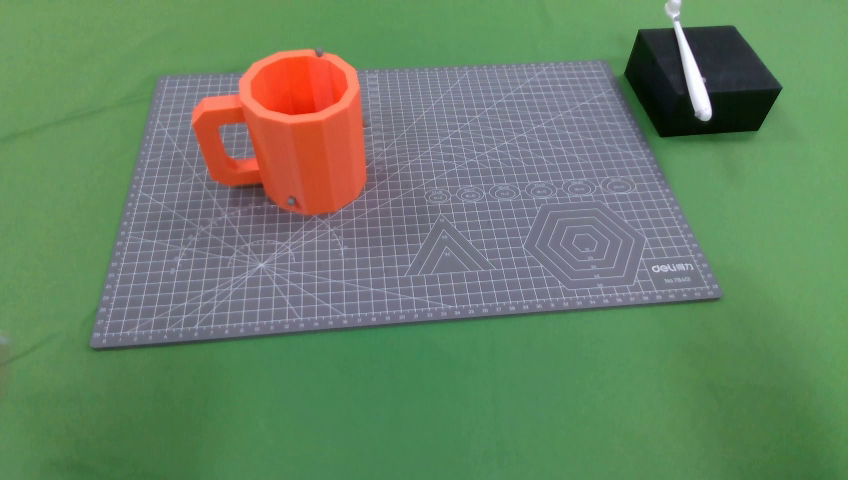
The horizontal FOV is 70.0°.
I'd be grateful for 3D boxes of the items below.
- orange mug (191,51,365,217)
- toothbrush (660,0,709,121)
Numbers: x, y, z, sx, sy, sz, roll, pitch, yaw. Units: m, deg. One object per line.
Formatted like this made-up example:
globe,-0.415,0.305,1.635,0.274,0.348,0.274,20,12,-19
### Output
orange mug,-0.110,-0.079,0.470,0.126,0.101,0.082,-7,52,-13
toothbrush,0.238,-0.171,0.554,0.014,0.017,0.180,7,52,-1
